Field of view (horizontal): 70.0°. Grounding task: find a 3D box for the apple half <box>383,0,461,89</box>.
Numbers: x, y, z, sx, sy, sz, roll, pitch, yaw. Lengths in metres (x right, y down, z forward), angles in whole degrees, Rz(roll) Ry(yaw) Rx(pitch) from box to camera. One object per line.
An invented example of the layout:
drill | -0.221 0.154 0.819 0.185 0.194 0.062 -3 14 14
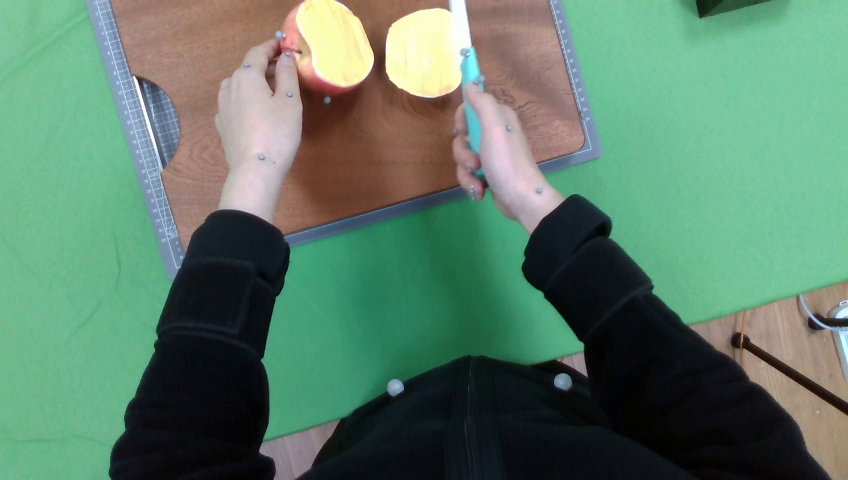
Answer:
apple half | 0.001 -0.180 0.561 0.081 0.032 0.081 2 103 10

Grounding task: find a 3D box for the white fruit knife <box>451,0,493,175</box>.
white fruit knife | 0.036 -0.160 0.514 0.016 0.027 0.207 -11 94 -28

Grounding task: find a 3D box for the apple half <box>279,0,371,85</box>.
apple half | -0.093 -0.176 0.541 0.074 0.053 0.081 -36 105 -43
